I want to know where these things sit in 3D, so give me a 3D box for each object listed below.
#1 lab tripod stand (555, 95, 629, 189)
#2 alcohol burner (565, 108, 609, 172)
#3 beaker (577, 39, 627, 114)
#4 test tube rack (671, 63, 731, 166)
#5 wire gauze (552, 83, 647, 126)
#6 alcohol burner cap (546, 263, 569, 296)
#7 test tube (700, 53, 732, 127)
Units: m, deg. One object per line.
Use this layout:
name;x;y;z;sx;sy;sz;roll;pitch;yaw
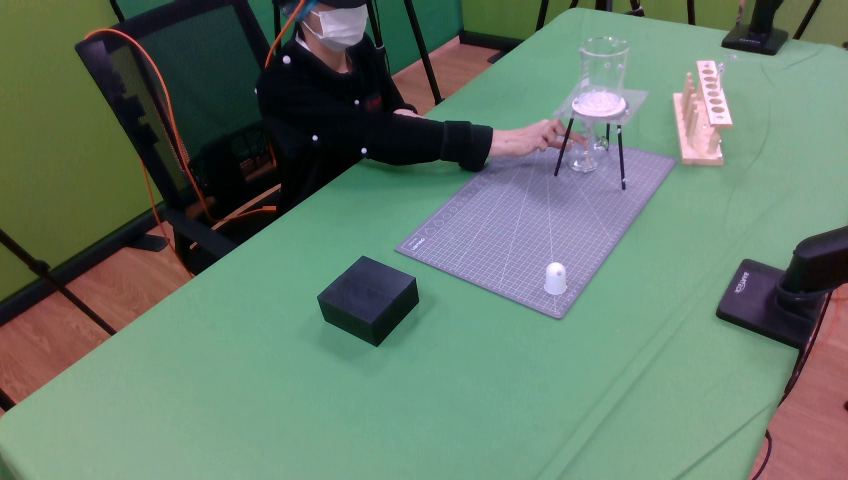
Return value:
lab tripod stand;0.300;-0.174;1.045;0.148;0.132;0.147;-5;38;5
alcohol burner;0.289;-0.180;1.069;0.078;0.119;0.077;-3;41;3
beaker;0.286;-0.264;0.976;0.073;0.100;0.084;25;49;33
test tube rack;0.513;-0.240;1.132;0.066;0.085;0.242;4;41;14
wire gauze;0.293;-0.224;1.004;0.120;0.011;0.125;19;43;26
alcohol burner cap;0.191;0.053;0.862;0.034;0.048;0.033;-5;40;4
test tube;0.521;-0.265;1.081;0.017;0.151;0.017;-3;47;3
